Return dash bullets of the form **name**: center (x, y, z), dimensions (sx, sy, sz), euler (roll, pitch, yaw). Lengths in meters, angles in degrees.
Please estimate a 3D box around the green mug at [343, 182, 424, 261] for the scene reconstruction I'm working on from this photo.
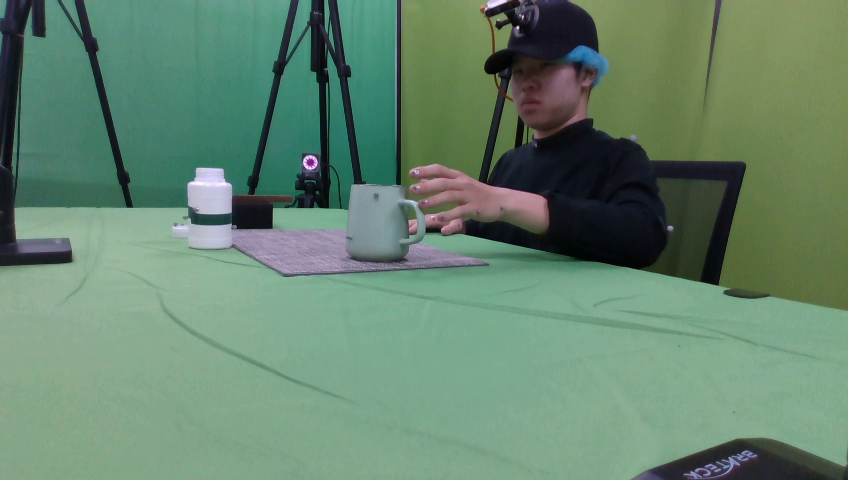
- **green mug**: center (-0.053, -0.026, 0.849), dimensions (0.125, 0.105, 0.093), euler (7, 8, 33)

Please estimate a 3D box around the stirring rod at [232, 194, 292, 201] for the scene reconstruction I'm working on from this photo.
- **stirring rod**: center (-0.353, -0.086, 1.216), dimensions (0.177, 0.014, 0.006), euler (-1, 12, -27)

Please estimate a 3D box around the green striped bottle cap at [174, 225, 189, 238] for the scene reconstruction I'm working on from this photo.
- **green striped bottle cap**: center (-0.404, -0.015, 1.035), dimensions (0.044, 0.020, 0.044), euler (-2, 7, 1)

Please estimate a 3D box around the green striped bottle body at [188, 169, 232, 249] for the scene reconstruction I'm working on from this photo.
- **green striped bottle body**: center (-0.324, -0.049, 0.919), dimensions (0.063, 0.119, 0.063), euler (2, 8, 0)
